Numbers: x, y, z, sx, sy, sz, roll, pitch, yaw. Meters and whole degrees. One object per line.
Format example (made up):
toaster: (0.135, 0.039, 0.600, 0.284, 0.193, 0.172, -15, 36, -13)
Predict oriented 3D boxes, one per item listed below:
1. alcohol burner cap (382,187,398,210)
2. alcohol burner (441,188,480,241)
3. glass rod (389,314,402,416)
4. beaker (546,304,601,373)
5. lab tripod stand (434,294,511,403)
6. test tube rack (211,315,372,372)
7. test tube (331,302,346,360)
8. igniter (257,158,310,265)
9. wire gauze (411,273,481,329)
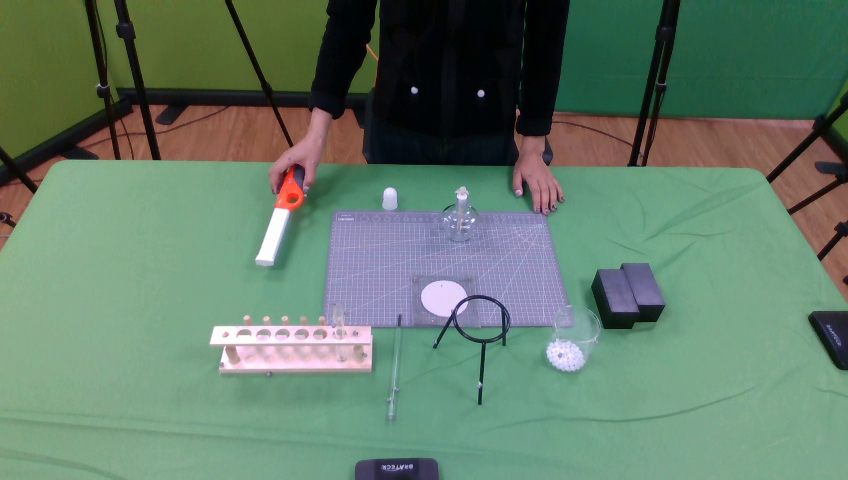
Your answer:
alcohol burner cap: (-0.072, -0.090, 1.267, 0.034, 0.048, 0.033, 3, 49, -3)
alcohol burner: (0.073, -0.055, 1.189, 0.078, 0.120, 0.077, 1, 48, -1)
glass rod: (-0.048, 0.203, 1.007, 0.008, 0.008, 0.198, 4, 45, 0)
beaker: (0.242, 0.167, 1.001, 0.084, 0.101, 0.073, -32, 55, -28)
lab tripod stand: (0.087, 0.164, 0.969, 0.148, 0.132, 0.147, 3, 47, -3)
test tube rack: (-0.208, 0.163, 0.982, 0.242, 0.085, 0.066, 1, 46, -4)
test tube: (-0.132, 0.144, 0.938, 0.017, 0.151, 0.017, 2, 49, -3)
igniter: (-0.275, -0.065, 1.197, 0.057, 0.025, 0.275, 7, 51, 1)
wire gauze: (0.038, 0.108, 1.103, 0.125, 0.011, 0.120, 2, 47, -3)
